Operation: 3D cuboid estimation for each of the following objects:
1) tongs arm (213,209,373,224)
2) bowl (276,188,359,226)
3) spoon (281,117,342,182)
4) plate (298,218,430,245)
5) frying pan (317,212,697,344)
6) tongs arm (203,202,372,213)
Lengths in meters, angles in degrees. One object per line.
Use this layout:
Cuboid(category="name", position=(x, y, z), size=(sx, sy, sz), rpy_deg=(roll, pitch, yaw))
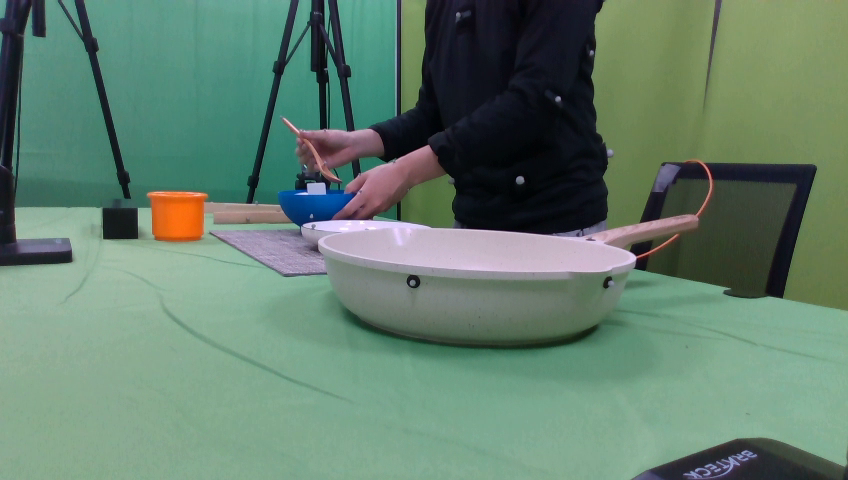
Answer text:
Cuboid(category="tongs arm", position=(-0.274, -0.054, 1.347), size=(0.390, 0.028, 0.028), rpy_deg=(-3, 7, -37))
Cuboid(category="bowl", position=(-0.194, -0.054, 1.116), size=(0.151, 0.077, 0.151), rpy_deg=(-1, 8, 0))
Cuboid(category="spoon", position=(-0.222, -0.178, 1.182), size=(0.193, 0.021, 0.042), rpy_deg=(51, 15, 19))
Cuboid(category="plate", position=(-0.091, -0.006, 0.949), size=(0.208, 0.039, 0.207), rpy_deg=(2, 8, 0))
Cuboid(category="frying pan", position=(0.133, 0.013, 0.629), size=(0.490, 0.102, 0.305), rpy_deg=(-12, 14, -31))
Cuboid(category="tongs arm", position=(-0.312, -0.069, 1.418), size=(0.387, 0.026, 0.050), rpy_deg=(0, 9, -24))
